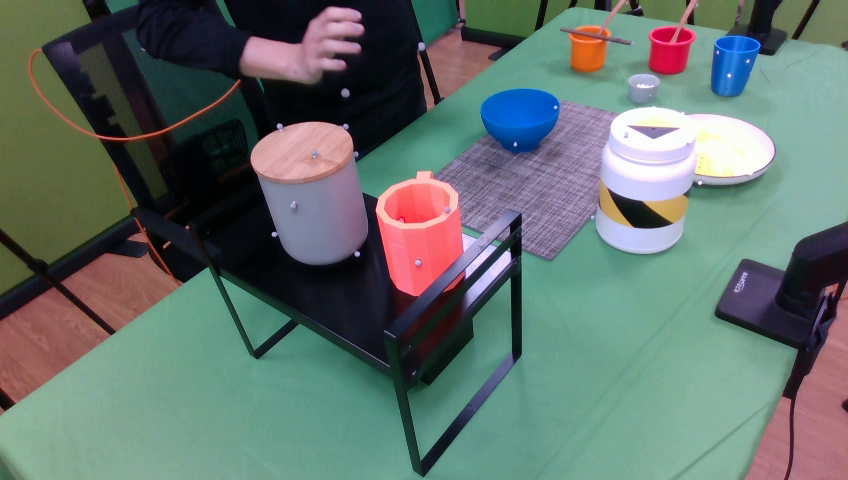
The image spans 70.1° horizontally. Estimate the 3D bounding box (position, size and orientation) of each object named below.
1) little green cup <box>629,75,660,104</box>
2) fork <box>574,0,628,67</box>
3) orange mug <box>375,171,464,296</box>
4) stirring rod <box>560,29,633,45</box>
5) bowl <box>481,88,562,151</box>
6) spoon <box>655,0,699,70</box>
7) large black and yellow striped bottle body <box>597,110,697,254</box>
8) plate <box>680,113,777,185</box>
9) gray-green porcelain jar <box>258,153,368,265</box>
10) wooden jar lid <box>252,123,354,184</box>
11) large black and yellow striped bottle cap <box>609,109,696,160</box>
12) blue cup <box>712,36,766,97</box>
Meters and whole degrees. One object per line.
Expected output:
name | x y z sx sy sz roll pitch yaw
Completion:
little green cup | 0.457 -0.314 1.260 0.061 0.039 0.061 -4 40 4
fork | 0.413 -0.481 1.377 0.207 0.019 0.028 -56 43 12
orange mug | -0.001 -0.016 0.662 0.083 0.101 0.125 -2 45 8
stirring rod | 0.381 -0.452 1.345 0.174 0.006 0.014 25 49 33
bowl | 0.187 -0.223 1.162 0.151 0.077 0.150 -5 40 4
spoon | 0.567 -0.463 1.337 0.041 0.022 0.193 30 96 38
large black and yellow striped bottle body | 0.331 -0.086 0.904 0.131 0.185 0.130 -5 41 4
plate | 0.506 -0.158 1.073 0.209 0.038 0.208 -5 40 4
gray-green porcelain jar | -0.122 -0.043 0.691 0.106 0.127 0.105 -4 40 4
wooden jar lid | -0.129 -0.090 0.652 0.108 0.021 0.108 -3 41 3
large black and yellow striped bottle cap | 0.319 -0.150 0.849 0.115 0.019 0.114 -4 40 3
blue cup | 0.627 -0.350 1.227 0.092 0.100 0.092 -4 39 4
